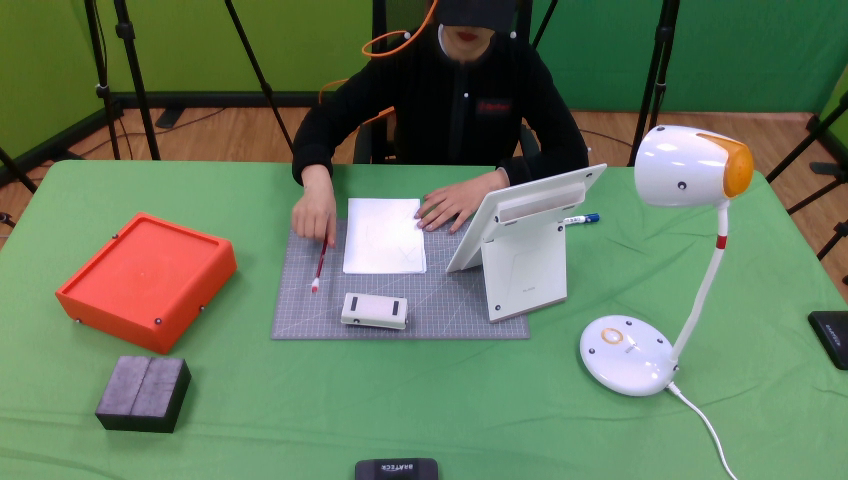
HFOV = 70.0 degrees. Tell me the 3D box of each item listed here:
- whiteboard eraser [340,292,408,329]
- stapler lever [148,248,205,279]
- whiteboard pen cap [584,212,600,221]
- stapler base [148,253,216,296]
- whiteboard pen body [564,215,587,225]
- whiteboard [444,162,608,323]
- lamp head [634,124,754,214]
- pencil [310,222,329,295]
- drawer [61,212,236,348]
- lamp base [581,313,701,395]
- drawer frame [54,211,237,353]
[{"bbox_3d":[-0.087,0.125,1.052,0.113,0.042,0.055,5,45,1],"label":"whiteboard eraser"},{"bbox_3d":[-0.444,0.038,1.083,0.118,0.040,0.027,20,52,17],"label":"stapler lever"},{"bbox_3d":[0.351,-0.048,1.271,0.033,0.018,0.018,-6,47,-11],"label":"whiteboard pen cap"},{"bbox_3d":[-0.443,0.058,1.108,0.130,0.024,0.041,24,53,12],"label":"stapler base"},{"bbox_3d":[0.291,-0.040,1.261,0.141,0.017,0.017,-6,47,-11],"label":"whiteboard pen body"},{"bbox_3d":[0.186,0.026,1.028,0.217,0.306,0.143,-14,68,-17],"label":"whiteboard"},{"bbox_3d":[0.351,-0.089,0.776,0.112,0.113,0.122,-30,30,-28],"label":"lamp head"},{"bbox_3d":[-0.189,0.029,1.116,0.012,0.012,0.193,3,41,-1],"label":"pencil"},{"bbox_3d":[-0.473,0.064,1.060,0.194,0.073,0.211,18,48,11],"label":"drawer"},{"bbox_3d":[0.361,0.144,0.973,0.178,0.181,0.160,34,53,23],"label":"lamp base"},{"bbox_3d":[-0.473,0.067,1.055,0.201,0.083,0.212,17,48,11],"label":"drawer frame"}]
